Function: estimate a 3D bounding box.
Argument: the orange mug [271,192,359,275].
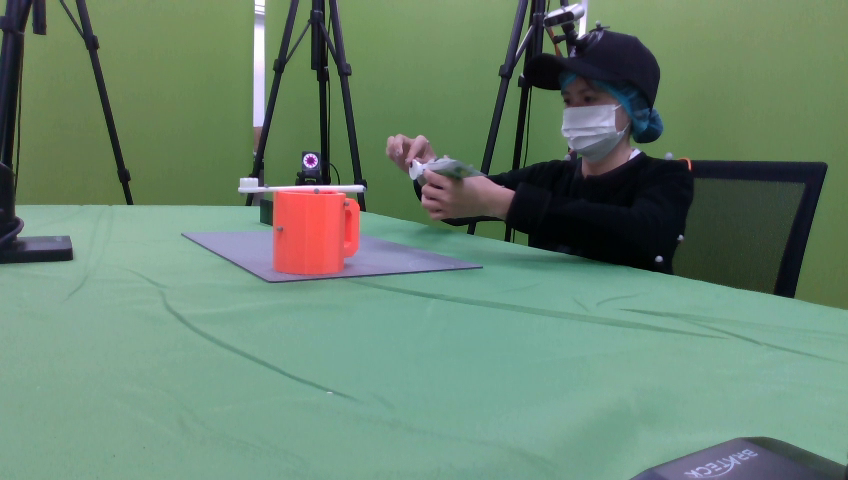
[{"bbox_3d":[-0.131,-0.013,0.754,0.083,0.101,0.127,8,13,38],"label":"orange mug"}]

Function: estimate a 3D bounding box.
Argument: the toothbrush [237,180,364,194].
[{"bbox_3d":[-0.144,-0.064,0.737,0.014,0.016,0.183,4,6,43],"label":"toothbrush"}]

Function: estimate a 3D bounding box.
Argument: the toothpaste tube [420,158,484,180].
[{"bbox_3d":[0.034,-0.112,0.940,0.055,0.034,0.164,19,-2,-23],"label":"toothpaste tube"}]

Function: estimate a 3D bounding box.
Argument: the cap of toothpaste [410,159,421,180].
[{"bbox_3d":[-0.015,-0.119,1.017,0.011,0.037,0.037,-5,10,-23],"label":"cap of toothpaste"}]
